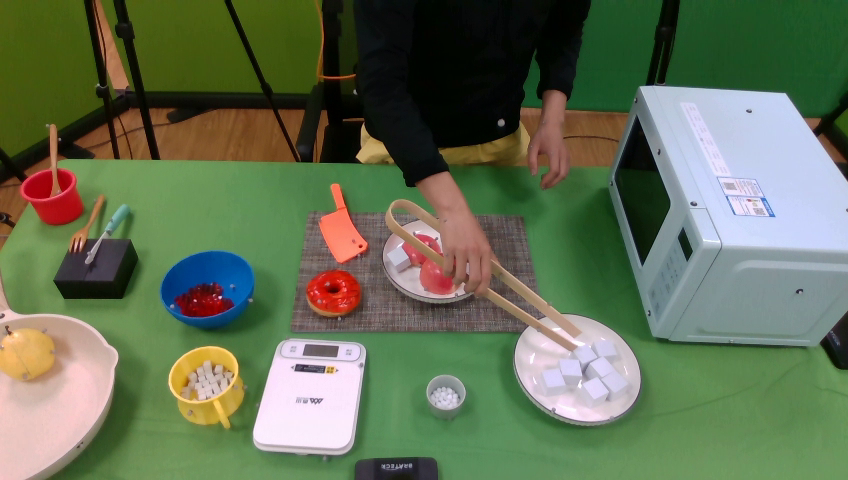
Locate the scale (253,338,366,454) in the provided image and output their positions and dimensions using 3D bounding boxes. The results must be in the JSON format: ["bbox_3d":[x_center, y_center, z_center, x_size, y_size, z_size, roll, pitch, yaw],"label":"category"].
[{"bbox_3d":[-0.175,0.236,0.951,0.149,0.032,0.199,4,46,0],"label":"scale"}]

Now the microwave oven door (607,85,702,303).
[{"bbox_3d":[0.423,-0.094,1.140,0.039,0.245,0.353,2,46,-1],"label":"microwave oven door"}]

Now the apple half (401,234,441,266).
[{"bbox_3d":[-0.005,0.014,1.159,0.081,0.033,0.081,5,44,-5],"label":"apple half"}]

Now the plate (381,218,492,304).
[{"bbox_3d":[0.023,0.042,1.143,0.209,0.038,0.208,3,46,-2],"label":"plate"}]

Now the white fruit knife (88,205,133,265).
[{"bbox_3d":[-0.584,-0.013,1.129,0.016,0.027,0.206,0,32,-5],"label":"white fruit knife"}]

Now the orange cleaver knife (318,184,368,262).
[{"bbox_3d":[-0.173,-0.037,1.218,0.077,0.012,0.210,-16,50,-12],"label":"orange cleaver knife"}]

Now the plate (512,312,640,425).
[{"bbox_3d":[0.246,0.213,0.999,0.208,0.039,0.206,2,46,-2],"label":"plate"}]

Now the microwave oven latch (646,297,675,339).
[{"bbox_3d":[0.412,0.134,1.061,0.030,0.029,0.078,4,45,1],"label":"microwave oven latch"}]

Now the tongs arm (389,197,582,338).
[{"bbox_3d":[0.099,0.050,1.013,0.384,0.026,0.050,39,54,3],"label":"tongs arm"}]

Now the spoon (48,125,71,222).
[{"bbox_3d":[-0.718,-0.131,1.188,0.041,0.021,0.193,-3,90,-7],"label":"spoon"}]

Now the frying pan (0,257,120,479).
[{"bbox_3d":[-0.647,0.164,0.936,0.307,0.103,0.485,-19,58,-22],"label":"frying pan"}]

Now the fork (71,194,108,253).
[{"bbox_3d":[-0.634,-0.036,1.158,0.028,0.019,0.206,-8,31,-8],"label":"fork"}]

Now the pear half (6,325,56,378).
[{"bbox_3d":[-0.608,0.158,0.935,0.076,0.110,0.056,31,51,20],"label":"pear half"}]

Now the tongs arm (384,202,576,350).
[{"bbox_3d":[0.088,0.064,0.999,0.387,0.028,0.028,36,57,1],"label":"tongs arm"}]

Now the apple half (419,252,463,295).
[{"bbox_3d":[0.034,0.056,1.109,0.074,0.053,0.081,38,55,25],"label":"apple half"}]

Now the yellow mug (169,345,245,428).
[{"bbox_3d":[-0.322,0.230,0.922,0.100,0.064,0.130,-24,53,-25],"label":"yellow mug"}]

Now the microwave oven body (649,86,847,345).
[{"bbox_3d":[0.567,-0.053,1.118,0.326,0.261,0.439,2,45,-1],"label":"microwave oven body"}]

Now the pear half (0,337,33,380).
[{"bbox_3d":[-0.631,0.184,0.921,0.070,0.088,0.031,29,49,19],"label":"pear half"}]

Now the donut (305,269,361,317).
[{"bbox_3d":[-0.161,0.094,1.075,0.099,0.048,0.098,4,46,-4],"label":"donut"}]

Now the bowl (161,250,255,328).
[{"bbox_3d":[-0.362,0.098,1.039,0.151,0.077,0.150,2,45,-2],"label":"bowl"}]

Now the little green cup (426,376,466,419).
[{"bbox_3d":[0.033,0.248,0.950,0.061,0.039,0.061,2,46,-2],"label":"little green cup"}]
